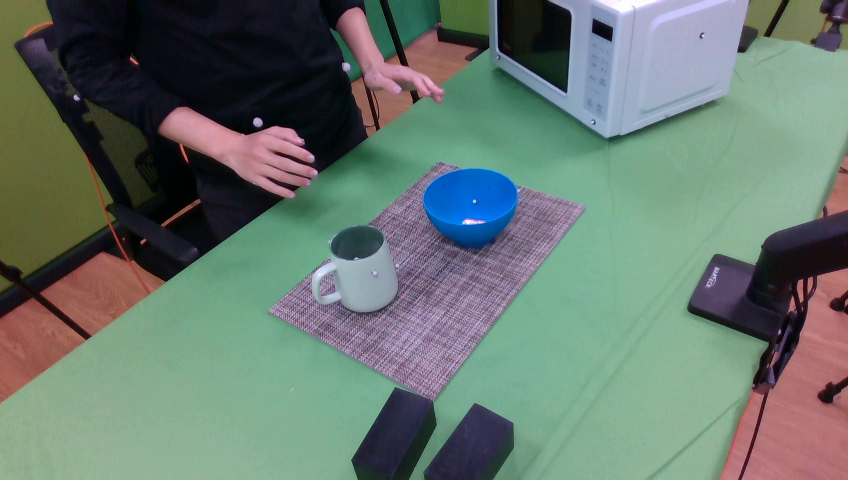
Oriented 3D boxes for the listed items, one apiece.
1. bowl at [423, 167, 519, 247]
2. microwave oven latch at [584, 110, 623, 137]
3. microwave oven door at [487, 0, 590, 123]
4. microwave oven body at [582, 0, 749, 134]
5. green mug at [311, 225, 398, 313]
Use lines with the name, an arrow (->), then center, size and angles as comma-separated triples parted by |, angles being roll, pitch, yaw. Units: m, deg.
bowl -> 0.075, -0.041, 0.958 | 0.151, 0.077, 0.150 | -4, 40, 4
microwave oven latch -> 0.337, -0.222, 1.142 | 0.030, 0.029, 0.078 | -21, 42, -14
microwave oven door -> 0.232, -0.420, 1.230 | 0.039, 0.245, 0.352 | -22, 42, -16
microwave oven body -> 0.382, -0.444, 1.246 | 0.327, 0.261, 0.437 | -22, 42, -16
green mug -> -0.101, 0.050, 0.857 | 0.126, 0.105, 0.091 | -28, 45, -23
